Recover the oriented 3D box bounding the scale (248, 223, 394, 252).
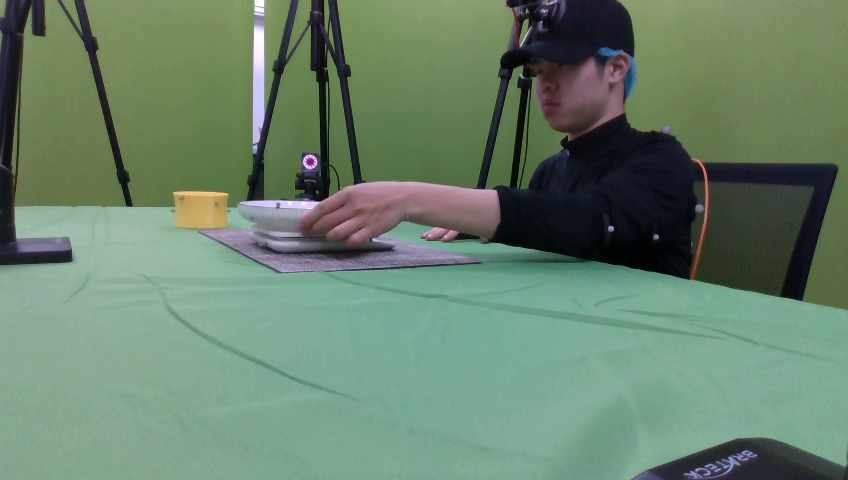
[{"bbox_3d":[-0.162,-0.007,0.954,0.202,0.031,0.148,-2,8,-32],"label":"scale"}]

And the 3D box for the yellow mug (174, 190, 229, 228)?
[{"bbox_3d":[-0.427,-0.063,1.189,0.100,0.064,0.131,5,7,13],"label":"yellow mug"}]

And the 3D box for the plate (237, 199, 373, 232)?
[{"bbox_3d":[-0.183,-0.039,0.941,0.209,0.038,0.209,3,7,0],"label":"plate"}]
